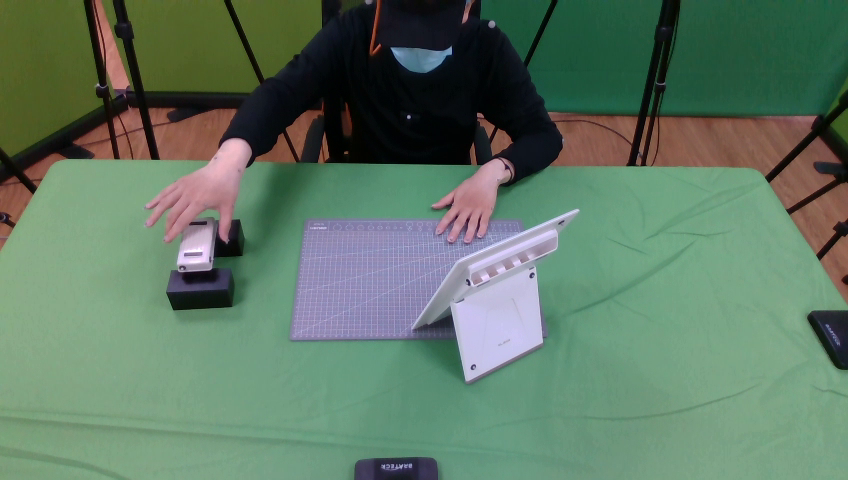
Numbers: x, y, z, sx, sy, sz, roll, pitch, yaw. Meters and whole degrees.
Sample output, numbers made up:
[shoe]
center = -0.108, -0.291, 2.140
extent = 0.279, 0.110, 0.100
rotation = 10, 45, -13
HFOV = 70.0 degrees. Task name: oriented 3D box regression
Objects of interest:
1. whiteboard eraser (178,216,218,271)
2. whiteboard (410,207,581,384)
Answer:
[whiteboard eraser]
center = -0.400, 0.008, 1.078
extent = 0.056, 0.042, 0.112
rotation = -1, 49, -10
[whiteboard]
center = 0.131, 0.108, 0.946
extent = 0.217, 0.306, 0.143
rotation = -21, 72, -23
